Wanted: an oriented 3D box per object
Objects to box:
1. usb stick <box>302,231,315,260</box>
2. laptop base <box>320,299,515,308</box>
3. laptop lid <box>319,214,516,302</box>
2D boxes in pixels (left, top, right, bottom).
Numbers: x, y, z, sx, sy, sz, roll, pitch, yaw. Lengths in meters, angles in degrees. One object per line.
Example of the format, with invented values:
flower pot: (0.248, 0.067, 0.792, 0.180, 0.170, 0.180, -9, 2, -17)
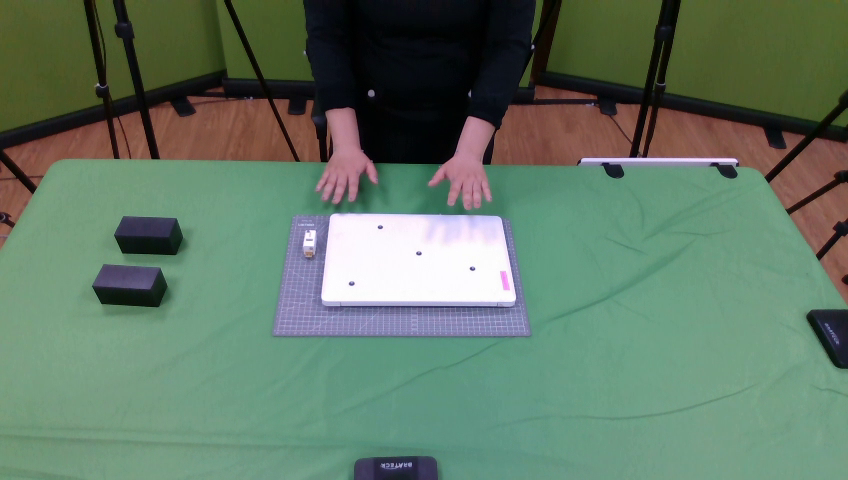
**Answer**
usb stick: (-0.223, 0.011, 1.163, 0.021, 0.027, 0.059, 3, 48, -6)
laptop base: (-0.013, 0.039, 1.160, 0.355, 0.023, 0.234, 0, 43, -4)
laptop lid: (-0.013, 0.029, 1.154, 0.357, 0.013, 0.240, 2, 43, -3)
